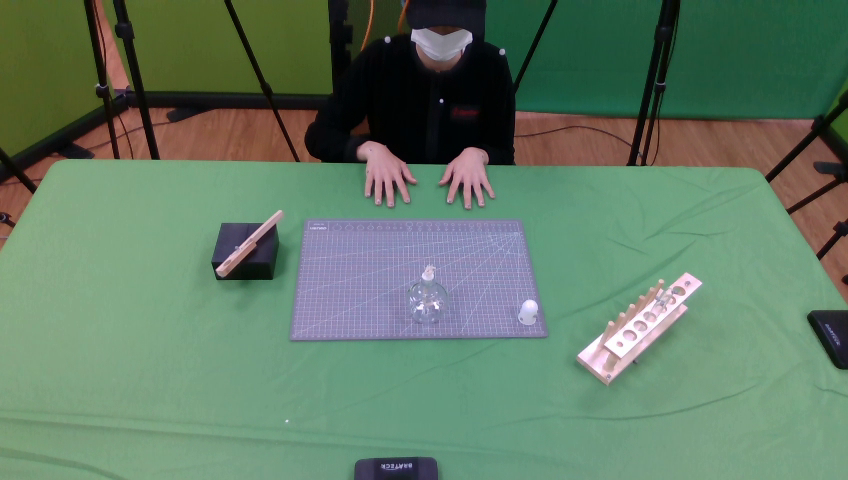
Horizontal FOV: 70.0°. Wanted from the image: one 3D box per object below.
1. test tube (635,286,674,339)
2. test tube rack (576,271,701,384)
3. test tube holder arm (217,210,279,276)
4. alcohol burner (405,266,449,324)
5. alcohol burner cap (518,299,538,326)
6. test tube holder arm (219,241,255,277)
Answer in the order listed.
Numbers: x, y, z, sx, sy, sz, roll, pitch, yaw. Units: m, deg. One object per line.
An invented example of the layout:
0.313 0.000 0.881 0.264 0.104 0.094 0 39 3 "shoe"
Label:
0.375 0.123 0.994 0.017 0.151 0.017 2 52 -2 "test tube"
0.373 0.138 1.047 0.242 0.085 0.066 -31 56 -29 "test tube rack"
-0.318 0.002 1.108 0.013 0.015 0.178 17 46 15 "test tube holder arm"
0.005 0.089 1.043 0.078 0.120 0.077 1 44 -1 "alcohol burner"
0.186 0.126 1.072 0.034 0.048 0.033 1 45 -1 "alcohol burner cap"
-0.331 0.032 1.076 0.010 0.015 0.087 19 47 17 "test tube holder arm"
